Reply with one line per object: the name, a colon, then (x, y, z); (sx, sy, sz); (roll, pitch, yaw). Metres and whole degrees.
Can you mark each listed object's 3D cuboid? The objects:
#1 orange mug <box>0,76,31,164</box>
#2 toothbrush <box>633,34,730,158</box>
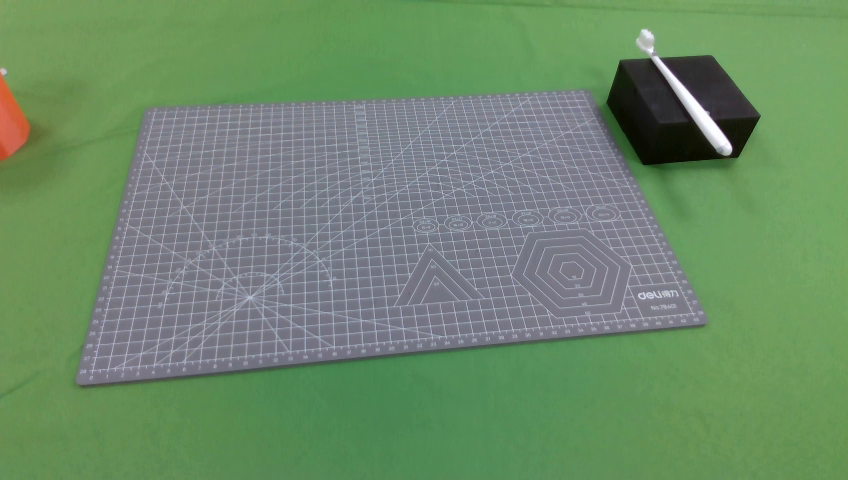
orange mug: (-0.418, -0.112, 0.508); (0.083, 0.101, 0.126); (38, 52, 26)
toothbrush: (0.237, -0.139, 0.564); (0.014, 0.017, 0.180); (-5, 50, -11)
